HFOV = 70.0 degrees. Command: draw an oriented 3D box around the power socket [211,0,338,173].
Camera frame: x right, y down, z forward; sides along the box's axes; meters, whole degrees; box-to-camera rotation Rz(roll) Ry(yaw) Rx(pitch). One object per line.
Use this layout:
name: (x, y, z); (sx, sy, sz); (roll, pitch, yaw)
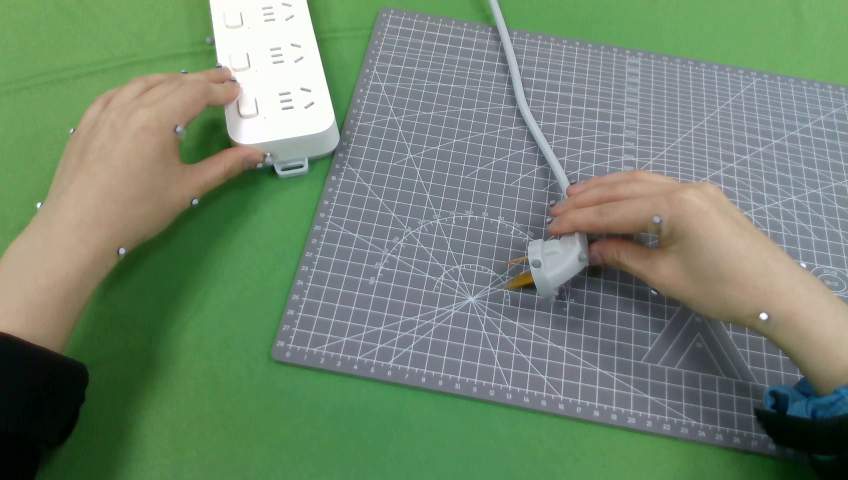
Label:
power socket: (-0.116, -0.150, 0.447); (0.072, 0.033, 0.224); (-11, 63, -10)

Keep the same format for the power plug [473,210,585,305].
power plug: (0.062, 0.009, 0.346); (0.073, 0.035, 0.052); (-2, 85, -44)
